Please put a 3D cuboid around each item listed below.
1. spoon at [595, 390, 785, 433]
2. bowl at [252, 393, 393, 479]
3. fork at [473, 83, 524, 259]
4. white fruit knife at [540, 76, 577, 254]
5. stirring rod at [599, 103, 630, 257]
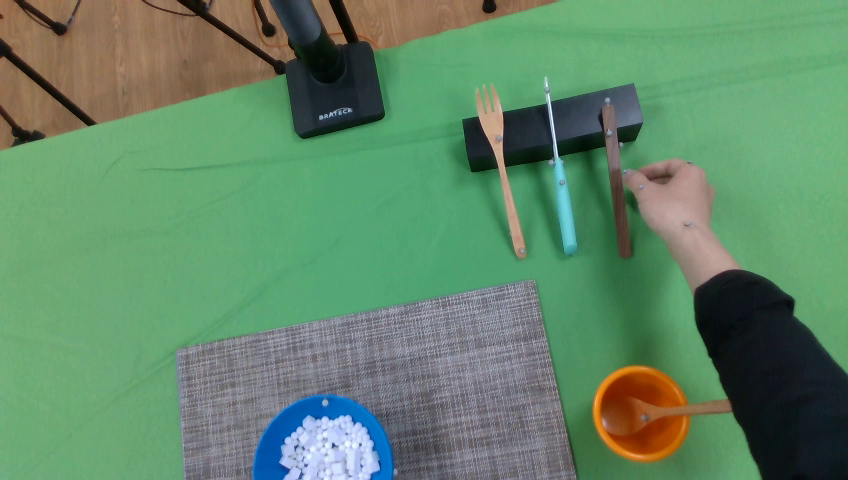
[{"bbox_3d":[0.249,0.164,0.590,0.022,0.193,0.041,5,71,-35],"label":"spoon"},{"bbox_3d":[-0.100,0.244,0.659,0.151,0.077,0.150,-2,76,9],"label":"bowl"},{"bbox_3d":[0.090,-0.078,0.705,0.028,0.018,0.207,-13,95,3],"label":"fork"},{"bbox_3d":[0.152,-0.086,0.696,0.016,0.027,0.207,-10,92,6],"label":"white fruit knife"},{"bbox_3d":[0.218,-0.067,0.692,0.014,0.006,0.176,-9,95,5],"label":"stirring rod"}]
